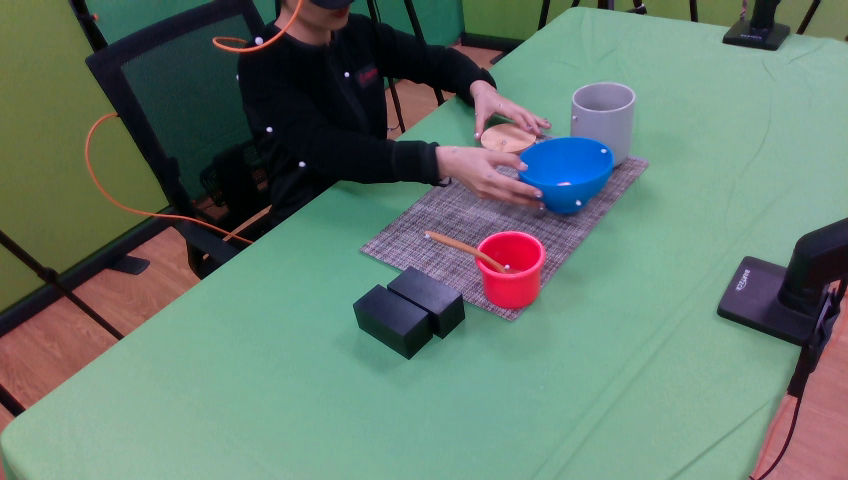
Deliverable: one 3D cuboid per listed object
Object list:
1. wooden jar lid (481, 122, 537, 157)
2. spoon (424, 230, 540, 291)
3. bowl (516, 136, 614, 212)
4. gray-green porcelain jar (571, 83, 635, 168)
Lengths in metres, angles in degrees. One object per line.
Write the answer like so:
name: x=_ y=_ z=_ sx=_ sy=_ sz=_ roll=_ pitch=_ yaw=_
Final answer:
wooden jar lid: x=0.165 y=-0.194 z=1.177 sx=0.108 sy=0.021 sz=0.108 roll=-4 pitch=39 yaw=4
spoon: x=0.083 y=0.026 z=0.836 sx=0.195 sy=0.021 sz=0.041 roll=29 pitch=31 yaw=-24
bowl: x=0.226 y=-0.098 z=0.971 sx=0.151 sy=0.077 sz=0.150 roll=-8 pitch=36 yaw=6
gray-green porcelain jar: x=0.313 y=-0.197 z=1.069 sx=0.106 sy=0.127 sz=0.105 roll=-6 pitch=40 yaw=5
